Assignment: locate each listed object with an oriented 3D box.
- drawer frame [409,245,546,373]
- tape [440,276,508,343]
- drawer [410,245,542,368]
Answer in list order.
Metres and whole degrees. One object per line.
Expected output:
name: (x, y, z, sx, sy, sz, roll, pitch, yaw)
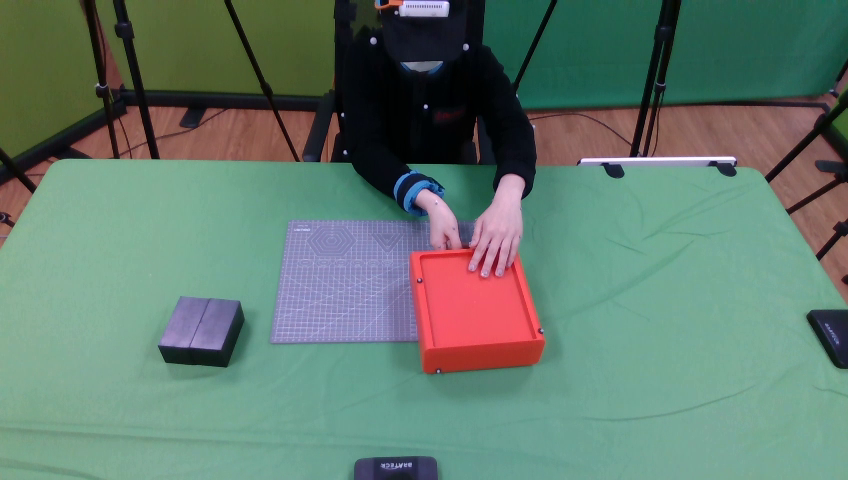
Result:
drawer frame: (0.084, 0.113, 1.049, 0.202, 0.083, 0.212, -4, 48, -8)
tape: (0.086, 0.119, 1.053, 0.117, 0.053, 0.116, 2, 45, -2)
drawer: (0.083, 0.111, 1.051, 0.195, 0.073, 0.210, -3, 47, -8)
